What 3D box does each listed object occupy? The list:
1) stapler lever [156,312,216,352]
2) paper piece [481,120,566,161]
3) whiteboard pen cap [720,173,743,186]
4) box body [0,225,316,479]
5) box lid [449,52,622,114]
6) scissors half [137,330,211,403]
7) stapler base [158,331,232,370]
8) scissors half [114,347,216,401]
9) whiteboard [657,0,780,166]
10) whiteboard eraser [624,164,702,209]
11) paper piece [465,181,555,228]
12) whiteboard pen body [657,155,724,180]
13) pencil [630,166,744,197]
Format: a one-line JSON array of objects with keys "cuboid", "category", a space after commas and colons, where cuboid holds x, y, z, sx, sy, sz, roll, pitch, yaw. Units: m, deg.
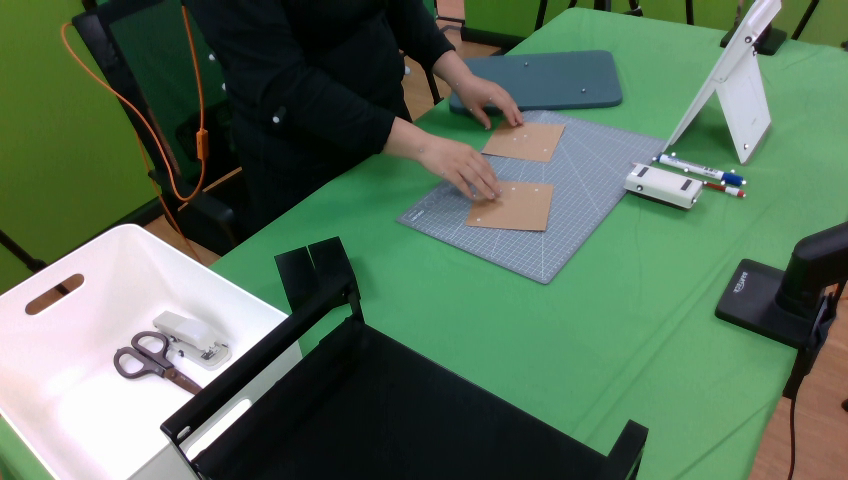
[{"cuboid": [-0.331, 0.121, 0.835, 0.117, 0.040, 0.027, 17, 42, 33], "category": "stapler lever"}, {"cuboid": [0.197, -0.199, 1.188, 0.135, 0.004, 0.135, 11, 44, 21], "category": "paper piece"}, {"cuboid": [0.519, -0.103, 1.020, 0.033, 0.018, 0.018, 23, 49, 30], "category": "whiteboard pen cap"}, {"cuboid": [-0.339, 0.161, 0.728, 0.361, 0.161, 0.255, 23, 48, 31], "category": "box body"}, {"cuboid": [0.250, -0.358, 1.371, 0.371, 0.015, 0.262, -1, 40, 9], "category": "box lid"}, {"cuboid": [-0.336, 0.172, 0.822, 0.174, 0.013, 0.040, 34, 55, 31], "category": "scissors half"}, {"cuboid": [-0.326, 0.142, 0.849, 0.129, 0.024, 0.041, 17, 42, 33], "category": "stapler base"}, {"cuboid": [-0.348, 0.185, 0.811, 0.174, 0.013, 0.040, 15, 53, 19], "category": "scissors half"}, {"cuboid": [0.571, -0.272, 1.038, 0.143, 0.306, 0.218, 36, 54, 17], "category": "whiteboard"}, {"cuboid": [0.396, -0.087, 1.003, 0.112, 0.042, 0.056, 22, 47, 31], "category": "whiteboard eraser"}, {"cuboid": [0.149, -0.062, 1.034, 0.137, 0.009, 0.136, 4, 37, 17], "category": "paper piece"}, {"cuboid": [0.475, -0.123, 1.052, 0.139, 0.017, 0.017, 24, 49, 32], "category": "whiteboard pen body"}, {"cuboid": [0.447, -0.103, 1.038, 0.192, 0.012, 0.012, 21, 48, 29], "category": "pencil"}]
